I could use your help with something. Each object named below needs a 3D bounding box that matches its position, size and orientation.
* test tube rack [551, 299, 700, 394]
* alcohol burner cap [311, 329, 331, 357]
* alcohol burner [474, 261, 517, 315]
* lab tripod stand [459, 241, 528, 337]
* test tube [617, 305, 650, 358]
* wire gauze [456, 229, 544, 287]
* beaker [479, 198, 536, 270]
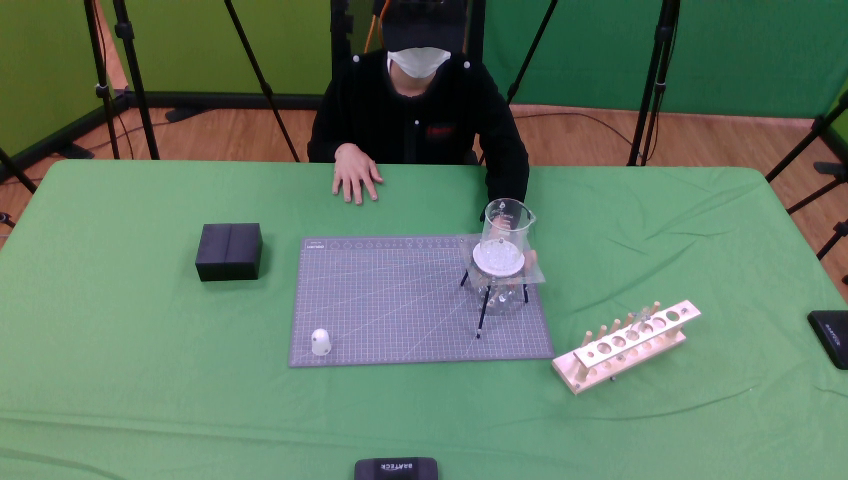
[{"bbox_3d":[0.339,0.166,1.021,0.242,0.085,0.066,-19,50,-21],"label":"test tube rack"},{"bbox_3d":[-0.173,0.168,1.005,0.034,0.048,0.033,2,46,-2],"label":"alcohol burner cap"},{"bbox_3d":[0.128,0.077,1.067,0.078,0.120,0.077,2,47,-2],"label":"alcohol burner"},{"bbox_3d":[0.122,0.075,1.054,0.148,0.132,0.147,3,44,-3],"label":"lab tripod stand"},{"bbox_3d":[0.333,0.149,0.967,0.017,0.151,0.017,0,52,1],"label":"test tube"},{"bbox_3d":[0.125,0.030,1.008,0.125,0.011,0.120,-3,48,-11],"label":"wire gauze"},{"bbox_3d":[0.131,-0.007,0.975,0.084,0.101,0.073,2,46,-3],"label":"beaker"}]
